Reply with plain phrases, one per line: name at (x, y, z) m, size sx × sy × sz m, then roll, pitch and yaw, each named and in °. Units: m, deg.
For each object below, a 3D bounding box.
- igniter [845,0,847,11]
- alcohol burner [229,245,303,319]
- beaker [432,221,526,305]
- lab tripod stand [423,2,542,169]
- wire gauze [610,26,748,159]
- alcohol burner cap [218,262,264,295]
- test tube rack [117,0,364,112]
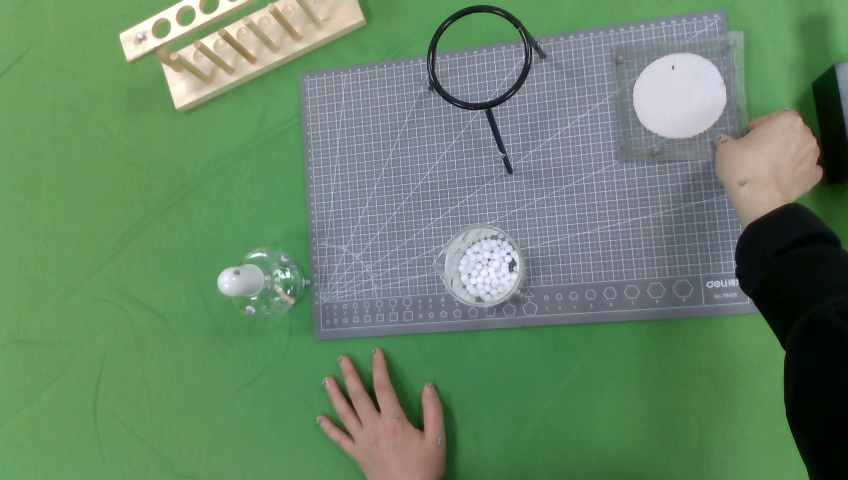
igniter at (0.390, -0.110, 0.511) m, size 0.057 × 0.025 × 0.275 m, roll -6°, pitch 82°, yaw 14°
alcohol burner at (-0.172, 0.042, 0.622) m, size 0.078 × 0.119 × 0.077 m, roll -1°, pitch 83°, yaw 11°
beaker at (0.058, 0.024, 0.579) m, size 0.084 × 0.100 × 0.074 m, roll 1°, pitch 85°, yaw 13°
lab tripod stand at (0.059, -0.149, 0.574) m, size 0.148 × 0.132 × 0.148 m, roll -1°, pitch 86°, yaw 10°
wire gauze at (0.249, -0.142, 0.596) m, size 0.125 × 0.011 × 0.121 m, roll -2°, pitch 90°, yaw 15°
alcohol burner cap at (-0.180, 0.038, 0.587) m, size 0.034 × 0.048 × 0.034 m, roll 0°, pitch 89°, yaw 11°
test tube rack at (-0.197, -0.230, 0.661) m, size 0.242 × 0.085 × 0.066 m, roll -23°, pitch 81°, yaw 9°
